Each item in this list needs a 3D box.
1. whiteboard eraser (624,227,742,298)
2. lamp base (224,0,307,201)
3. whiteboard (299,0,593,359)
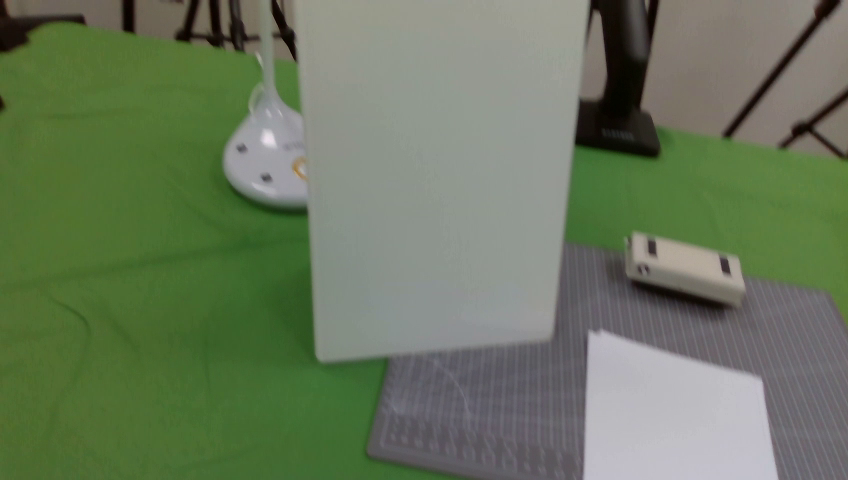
[{"bbox_3d":[0.264,0.025,0.627,0.112,0.042,0.055,15,41,7],"label":"whiteboard eraser"},{"bbox_3d":[-0.149,-0.161,0.664,0.161,0.181,0.177,-24,48,-33],"label":"lamp base"},{"bbox_3d":[0.003,-0.073,0.537,0.218,0.307,0.142,-3,22,-13],"label":"whiteboard"}]
